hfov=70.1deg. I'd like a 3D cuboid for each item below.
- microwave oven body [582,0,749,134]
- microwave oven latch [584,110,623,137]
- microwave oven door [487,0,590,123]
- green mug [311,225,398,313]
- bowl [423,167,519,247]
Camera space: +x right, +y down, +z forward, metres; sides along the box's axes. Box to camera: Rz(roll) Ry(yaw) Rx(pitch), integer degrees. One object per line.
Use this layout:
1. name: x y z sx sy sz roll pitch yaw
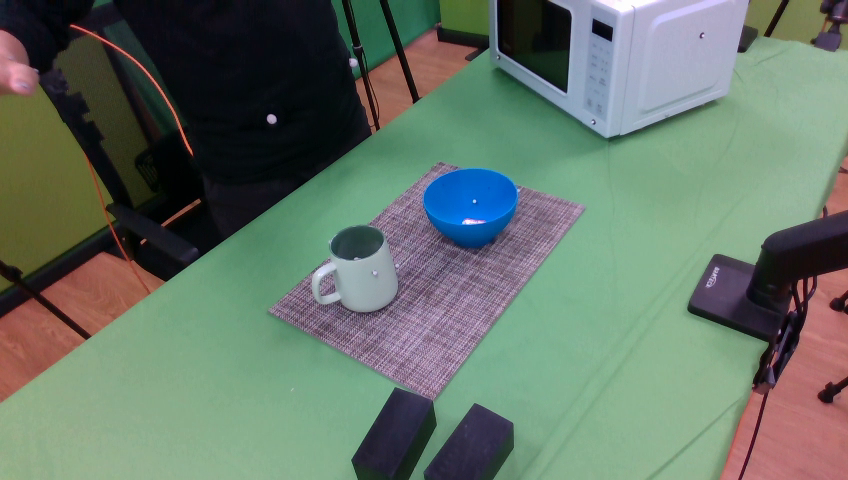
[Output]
1. microwave oven body: 0.382 -0.444 1.246 0.327 0.261 0.437 -22 42 -16
2. microwave oven latch: 0.337 -0.222 1.142 0.030 0.029 0.078 -21 42 -14
3. microwave oven door: 0.232 -0.420 1.231 0.039 0.245 0.352 -22 43 -16
4. green mug: -0.101 0.050 0.857 0.126 0.105 0.091 -28 45 -23
5. bowl: 0.075 -0.041 0.958 0.151 0.077 0.150 -4 40 4
